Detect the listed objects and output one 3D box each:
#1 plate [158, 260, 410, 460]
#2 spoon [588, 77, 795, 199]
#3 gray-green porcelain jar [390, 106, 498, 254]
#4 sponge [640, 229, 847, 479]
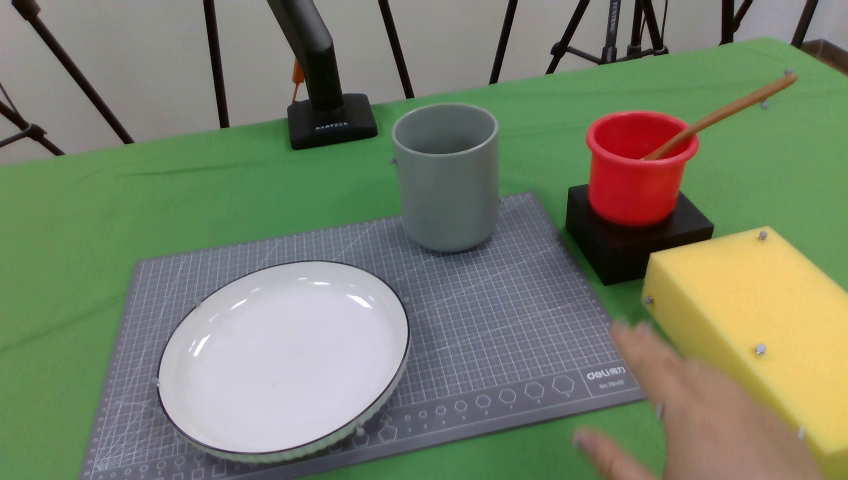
[{"bbox_3d":[-0.114,0.098,0.519,0.207,0.039,0.205,-3,39,3],"label":"plate"},{"bbox_3d":[0.234,-0.089,0.548,0.194,0.022,0.041,-36,23,37],"label":"spoon"},{"bbox_3d":[0.023,-0.057,0.623,0.106,0.128,0.105,-3,39,3],"label":"gray-green porcelain jar"},{"bbox_3d":[0.281,0.083,0.478,0.118,0.061,0.204,-13,39,-10],"label":"sponge"}]
